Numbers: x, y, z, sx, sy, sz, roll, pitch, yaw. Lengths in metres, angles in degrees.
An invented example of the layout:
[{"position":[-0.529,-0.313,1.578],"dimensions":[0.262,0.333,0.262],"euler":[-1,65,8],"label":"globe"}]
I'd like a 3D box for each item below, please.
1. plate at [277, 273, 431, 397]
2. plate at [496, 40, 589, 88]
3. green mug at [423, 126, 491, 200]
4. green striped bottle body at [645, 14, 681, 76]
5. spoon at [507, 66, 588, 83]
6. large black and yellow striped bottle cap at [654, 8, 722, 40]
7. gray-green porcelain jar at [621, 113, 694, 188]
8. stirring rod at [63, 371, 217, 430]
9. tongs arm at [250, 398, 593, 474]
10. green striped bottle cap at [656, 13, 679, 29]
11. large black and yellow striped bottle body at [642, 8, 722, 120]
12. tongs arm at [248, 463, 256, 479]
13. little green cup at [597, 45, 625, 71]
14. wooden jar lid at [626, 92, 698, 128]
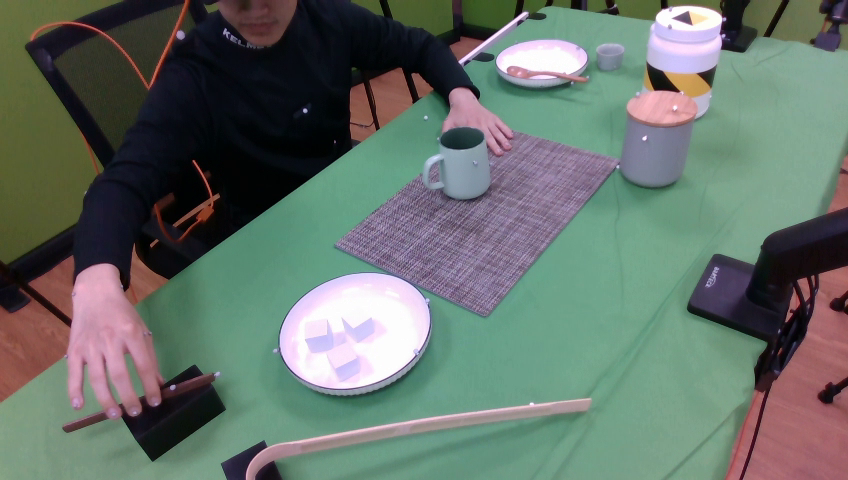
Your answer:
[{"position":[-0.092,0.129,0.821],"dimensions":[0.207,0.039,0.206],"euler":[-4,40,4],"label":"plate"},{"position":[0.268,-0.397,1.381],"dimensions":[0.209,0.038,0.208],"euler":[-4,41,4],"label":"plate"},{"position":[0.055,-0.125,1.039],"dimensions":[0.126,0.105,0.091],"euler":[-25,44,-19],"label":"green mug"},{"position":[0.520,-0.424,1.312],"dimensions":[0.063,0.120,0.063],"euler":[-4,41,4],"label":"green striped bottle body"},{"position":[0.265,-0.357,1.311],"dimensions":[0.192,0.022,0.042],"euler":[18,47,38],"label":"spoon"},{"position":[0.483,-0.397,1.108],"dimensions":[0.115,0.019,0.114],"euler":[-3,41,3],"label":"large black and yellow striped bottle cap"},{"position":[0.390,-0.161,1.020],"dimensions":[0.106,0.127,0.105],"euler":[-4,41,4],"label":"gray-green porcelain jar"},{"position":[-0.337,0.191,0.724],"dimensions":[0.177,0.014,0.005],"euler":[-18,44,-12],"label":"stirring rod"},{"position":[0.008,0.212,0.675],"dimensions":[0.389,0.028,0.028],"euler":[-5,46,-11],"label":"tongs arm"},{"position":[0.515,-0.463,1.278],"dimensions":[0.044,0.020,0.044],"euler":[-6,42,6],"label":"green striped bottle cap"},{"position":[0.493,-0.334,1.161],"dimensions":[0.131,0.185,0.130],"euler":[-4,41,4],"label":"large black and yellow striped bottle body"},{"position":[0.012,0.262,0.615],"dimensions":[0.385,0.026,0.050],"euler":[3,41,-2],"label":"tongs arm"},{"position":[0.422,-0.413,1.375],"dimensions":[0.061,0.039,0.061],"euler":[-3,41,3],"label":"little green cup"},{"position":[0.384,-0.207,0.980],"dimensions":[0.108,0.021,0.108],"euler":[-6,39,5],"label":"wooden jar lid"}]
